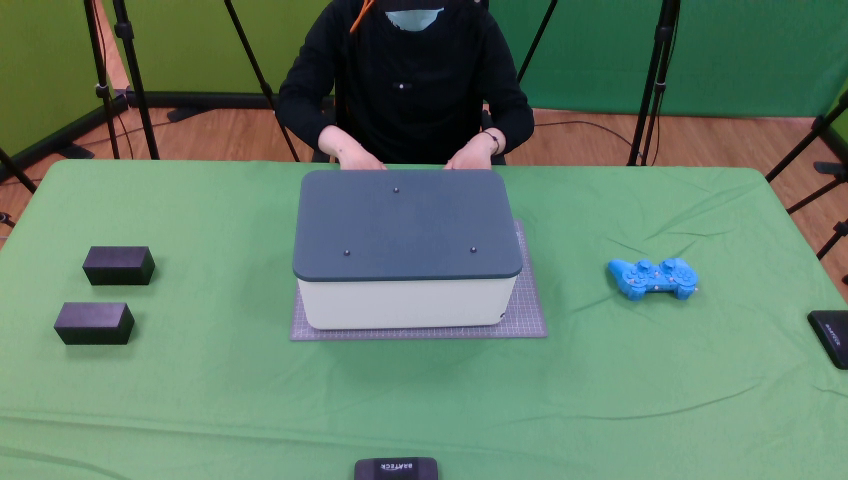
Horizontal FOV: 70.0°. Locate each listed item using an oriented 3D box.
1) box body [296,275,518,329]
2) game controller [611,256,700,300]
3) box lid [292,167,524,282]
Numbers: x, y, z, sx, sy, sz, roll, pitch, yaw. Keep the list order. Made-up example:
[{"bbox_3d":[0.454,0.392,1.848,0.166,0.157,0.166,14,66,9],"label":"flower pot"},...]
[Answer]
[{"bbox_3d":[-0.032,0.016,1.075,0.364,0.161,0.252,-1,47,-5],"label":"box body"},{"bbox_3d":[0.441,0.063,1.144,0.155,0.052,0.096,-1,50,-4],"label":"game controller"},{"bbox_3d":[-0.027,-0.035,1.021,0.372,0.015,0.261,-1,47,-5],"label":"box lid"}]
